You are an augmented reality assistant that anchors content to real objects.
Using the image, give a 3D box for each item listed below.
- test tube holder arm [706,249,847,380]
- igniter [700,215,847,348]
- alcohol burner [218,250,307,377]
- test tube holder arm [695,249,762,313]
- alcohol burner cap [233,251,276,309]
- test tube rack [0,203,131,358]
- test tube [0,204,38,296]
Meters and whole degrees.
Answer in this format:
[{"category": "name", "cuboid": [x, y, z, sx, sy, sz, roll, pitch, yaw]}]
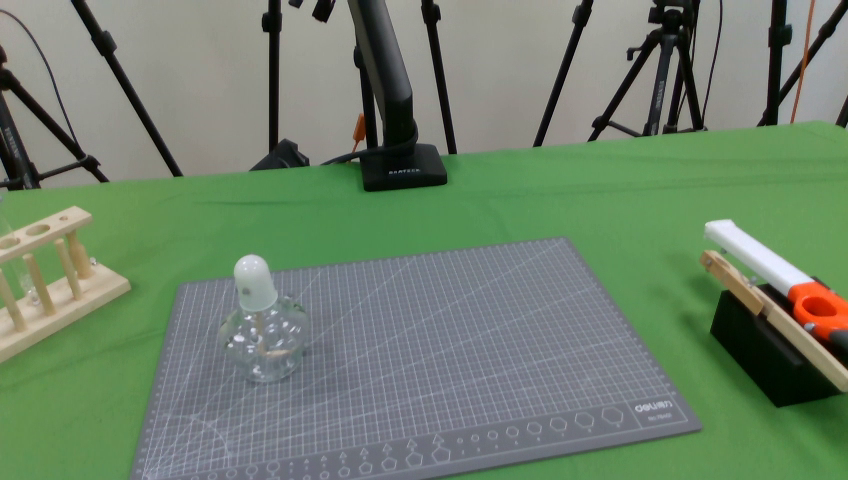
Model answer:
[{"category": "test tube holder arm", "cuboid": [0.302, 0.058, 0.528, 0.013, 0.015, 0.176, -11, 33, -14]}, {"category": "igniter", "cuboid": [0.340, 0.047, 0.538, 0.057, 0.025, 0.273, -8, 30, -10]}, {"category": "alcohol burner", "cuboid": [-0.144, 0.061, 0.532, 0.078, 0.120, 0.077, -1, 31, 1]}, {"category": "test tube holder arm", "cuboid": [0.284, 0.037, 0.563, 0.010, 0.015, 0.087, -10, 33, -12]}, {"category": "alcohol burner cap", "cuboid": [-0.146, 0.031, 0.512, 0.034, 0.048, 0.033, -1, 37, 2]}, {"category": "test tube rack", "cuboid": [-0.417, 0.059, 0.573, 0.066, 0.086, 0.242, 21, 39, 29]}, {"category": "test tube", "cuboid": [-0.403, -0.006, 0.582, 0.017, 0.151, 0.017, 0, 35, 0]}]
